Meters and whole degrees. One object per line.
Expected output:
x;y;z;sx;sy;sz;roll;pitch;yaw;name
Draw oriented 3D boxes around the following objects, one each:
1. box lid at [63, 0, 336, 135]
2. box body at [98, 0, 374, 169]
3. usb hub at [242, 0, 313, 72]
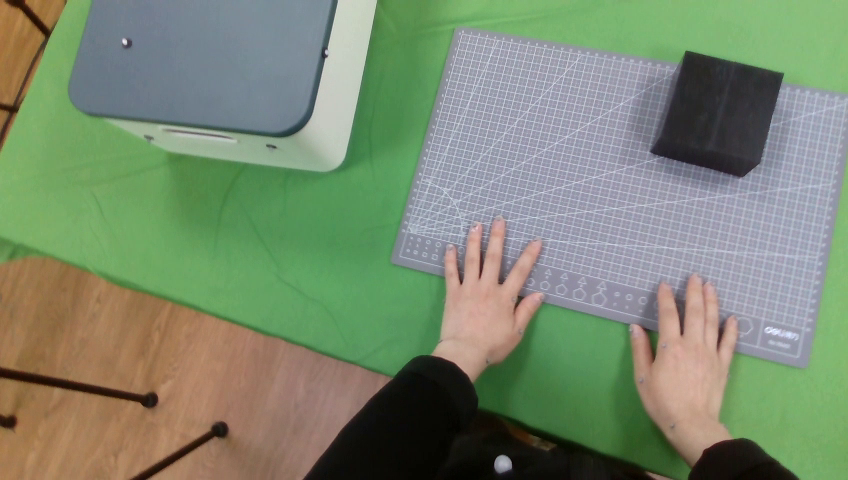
-0.208;-0.290;0.617;0.263;0.015;0.370;9;81;10;box lid
-0.197;-0.278;0.690;0.253;0.161;0.363;9;81;9;box body
-0.176;-0.267;0.742;0.049;0.025;0.124;14;76;12;usb hub
